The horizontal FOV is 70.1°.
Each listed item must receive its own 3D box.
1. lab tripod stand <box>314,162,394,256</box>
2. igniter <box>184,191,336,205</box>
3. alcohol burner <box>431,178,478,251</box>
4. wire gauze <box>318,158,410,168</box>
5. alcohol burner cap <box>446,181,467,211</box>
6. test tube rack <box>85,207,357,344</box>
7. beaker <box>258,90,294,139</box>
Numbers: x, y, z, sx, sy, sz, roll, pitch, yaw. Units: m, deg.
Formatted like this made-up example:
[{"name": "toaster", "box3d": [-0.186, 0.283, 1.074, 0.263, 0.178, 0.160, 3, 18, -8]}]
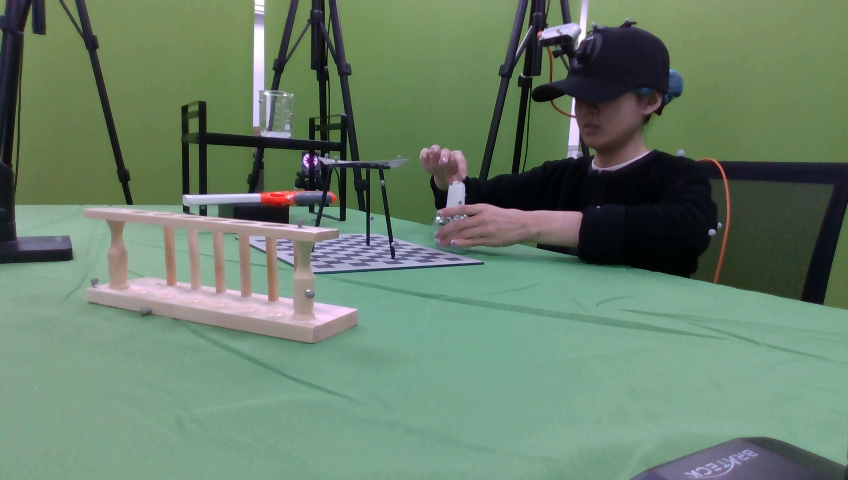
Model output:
[{"name": "lab tripod stand", "box3d": [-0.098, -0.048, 0.897, 0.148, 0.131, 0.148, 2, 6, 0]}, {"name": "igniter", "box3d": [-0.298, -0.078, 1.126, 0.278, 0.025, 0.057, -4, 13, -32]}, {"name": "alcohol burner", "box3d": [0.051, -0.041, 0.983, 0.078, 0.119, 0.078, 3, 2, 0]}, {"name": "wire gauze", "box3d": [-0.090, -0.114, 0.888, 0.122, 0.011, 0.124, 0, 6, -15]}, {"name": "alcohol burner cap", "box3d": [0.054, -0.071, 0.981, 0.034, 0.048, 0.034, 4, 3, 0]}, {"name": "test tube rack", "box3d": [-0.177, 0.022, 0.518, 0.241, 0.085, 0.067, 6, 7, 23]}, {"name": "beaker", "box3d": [-0.324, -0.274, 1.331, 0.083, 0.100, 0.074, 7, 9, 24]}]
